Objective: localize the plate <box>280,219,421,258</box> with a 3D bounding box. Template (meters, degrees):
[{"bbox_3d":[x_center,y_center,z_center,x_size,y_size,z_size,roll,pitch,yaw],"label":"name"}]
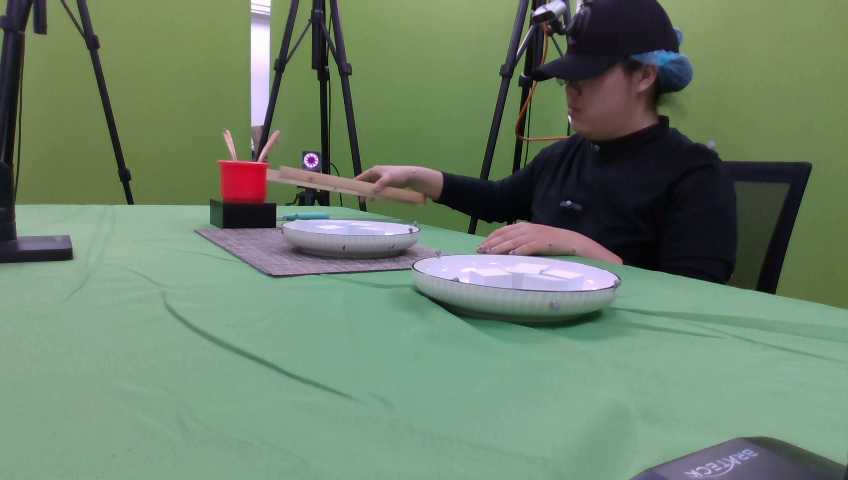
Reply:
[{"bbox_3d":[-0.108,-0.002,0.902,0.208,0.039,0.207,3,7,0],"label":"plate"}]

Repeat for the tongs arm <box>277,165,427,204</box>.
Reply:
[{"bbox_3d":[-0.146,-0.121,1.365,0.390,0.027,0.028,8,-7,-35],"label":"tongs arm"}]

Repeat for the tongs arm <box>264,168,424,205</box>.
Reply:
[{"bbox_3d":[-0.177,-0.124,1.421,0.387,0.026,0.050,8,-3,-27],"label":"tongs arm"}]

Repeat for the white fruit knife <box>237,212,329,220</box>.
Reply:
[{"bbox_3d":[-0.304,-0.050,1.328,0.208,0.016,0.027,-3,-19,-29],"label":"white fruit knife"}]

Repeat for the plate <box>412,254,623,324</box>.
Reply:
[{"bbox_3d":[0.090,0.047,0.609,0.209,0.038,0.209,2,7,0],"label":"plate"}]

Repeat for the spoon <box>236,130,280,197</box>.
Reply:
[{"bbox_3d":[-0.321,-0.154,1.192,0.041,0.193,0.022,1,-37,19],"label":"spoon"}]

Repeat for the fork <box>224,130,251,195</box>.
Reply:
[{"bbox_3d":[-0.372,-0.155,1.193,0.028,0.018,0.206,-17,54,-13],"label":"fork"}]
